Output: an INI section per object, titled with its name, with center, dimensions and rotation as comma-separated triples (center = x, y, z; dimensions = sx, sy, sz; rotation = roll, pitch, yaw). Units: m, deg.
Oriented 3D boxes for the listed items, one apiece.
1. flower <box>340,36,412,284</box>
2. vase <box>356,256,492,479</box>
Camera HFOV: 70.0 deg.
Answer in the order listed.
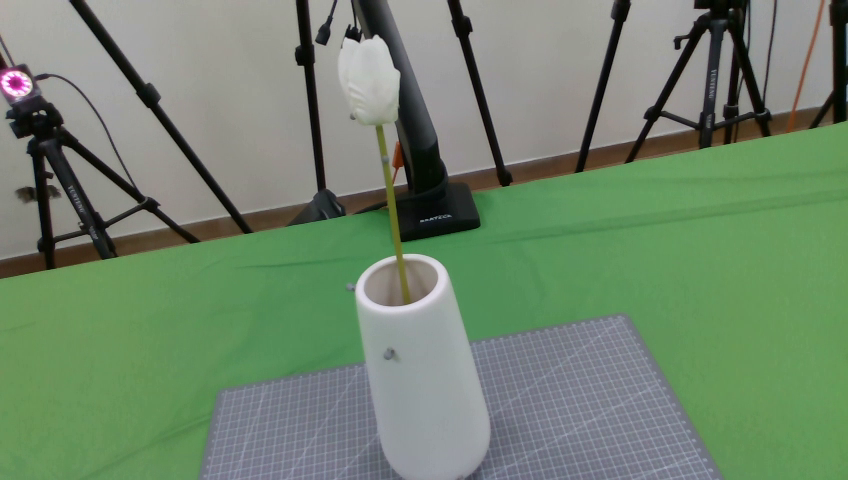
[flower]
center = -0.012, 0.034, 0.464
dimensions = 0.038, 0.363, 0.043
rotation = -19, 17, -31
[vase]
center = 0.000, 0.111, 0.497
dimensions = 0.098, 0.202, 0.097
rotation = -8, 33, 5
